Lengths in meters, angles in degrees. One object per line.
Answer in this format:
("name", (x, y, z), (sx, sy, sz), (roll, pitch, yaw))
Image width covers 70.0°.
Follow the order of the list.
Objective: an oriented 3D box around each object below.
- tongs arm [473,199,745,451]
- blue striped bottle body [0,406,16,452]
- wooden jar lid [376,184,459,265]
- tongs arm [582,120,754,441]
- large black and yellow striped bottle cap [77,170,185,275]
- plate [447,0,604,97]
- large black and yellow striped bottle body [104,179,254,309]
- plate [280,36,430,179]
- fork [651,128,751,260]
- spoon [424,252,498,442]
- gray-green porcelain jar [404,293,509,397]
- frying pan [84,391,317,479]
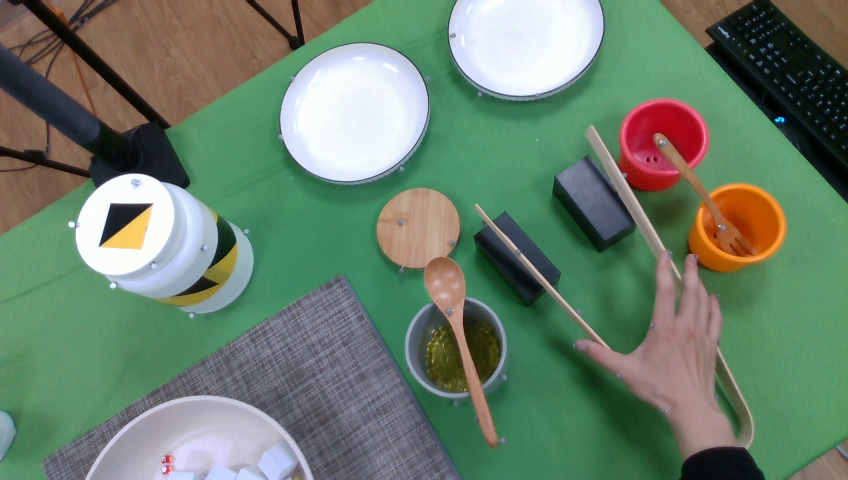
("tongs arm", (0.199, 0.086, 0.669), (0.051, 0.026, 0.384), (-40, 84, -7))
("blue striped bottle body", (-0.573, 0.234, 0.740), (0.063, 0.121, 0.062), (-2, 73, 9))
("wooden jar lid", (-0.008, -0.019, 0.777), (0.108, 0.021, 0.108), (-2, 76, 8))
("tongs arm", (0.269, 0.038, 0.675), (0.028, 0.028, 0.386), (-25, 83, -8))
("large black and yellow striped bottle cap", (-0.315, -0.020, 0.650), (0.115, 0.019, 0.114), (-2, 75, 8))
("plate", (0.135, -0.284, 0.819), (0.209, 0.038, 0.208), (-2, 74, 9))
("large black and yellow striped bottle body", (-0.302, 0.005, 0.730), (0.130, 0.185, 0.130), (-2, 73, 9))
("plate", (-0.092, -0.177, 0.825), (0.207, 0.039, 0.206), (-2, 74, 9))
("fork", (0.307, -0.048, 0.667), (0.028, 0.018, 0.209), (-45, 117, 3))
("spoon", (0.039, 0.105, 0.605), (0.041, 0.022, 0.192), (-16, 76, 1))
("gray-green porcelain jar", (0.041, 0.121, 0.674), (0.106, 0.127, 0.105), (-2, 74, 8))
("frying pan", (-0.267, 0.414, 0.647), (0.306, 0.103, 0.484), (7, 67, 12))
